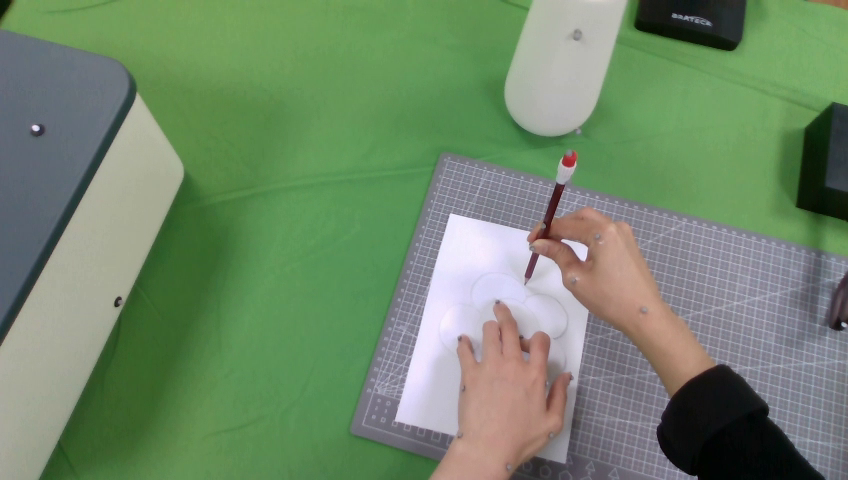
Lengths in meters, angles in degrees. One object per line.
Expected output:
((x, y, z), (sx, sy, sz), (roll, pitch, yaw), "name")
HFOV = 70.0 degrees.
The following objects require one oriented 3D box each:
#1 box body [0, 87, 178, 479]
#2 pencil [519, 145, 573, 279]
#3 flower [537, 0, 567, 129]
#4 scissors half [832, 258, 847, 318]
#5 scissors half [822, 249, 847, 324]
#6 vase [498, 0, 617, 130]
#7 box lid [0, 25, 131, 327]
((-0.407, 0.013, 0.515), (0.254, 0.161, 0.362), (15, 71, 5), "box body")
((0.097, -0.013, 0.511), (0.012, 0.195, 0.012), (1, 58, -2), "pencil")
((0.123, -0.232, 0.502), (0.044, 0.365, 0.038), (9, 52, 6), "flower")
((0.407, -0.009, 0.558), (0.013, 0.040, 0.174), (21, 72, 16), "scissors half")
((0.413, -0.003, 0.577), (0.012, 0.040, 0.175), (20, 89, 21), "scissors half")
((0.126, -0.190, 0.575), (0.098, 0.201, 0.097), (0, 69, 1), "vase")
((-0.406, -0.015, 0.445), (0.263, 0.015, 0.369), (16, 71, 4), "box lid")
